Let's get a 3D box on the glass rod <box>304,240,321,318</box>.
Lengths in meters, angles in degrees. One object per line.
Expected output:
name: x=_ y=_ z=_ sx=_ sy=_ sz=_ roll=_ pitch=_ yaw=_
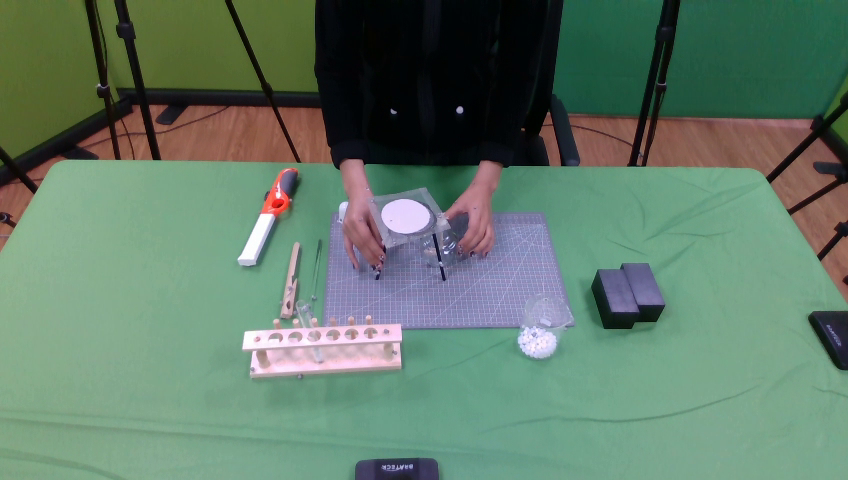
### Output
glass rod: x=-0.207 y=0.068 z=1.128 sx=0.008 sy=0.008 sz=0.198 roll=2 pitch=43 yaw=-2

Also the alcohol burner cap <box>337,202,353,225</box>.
alcohol burner cap: x=-0.161 y=-0.056 z=1.223 sx=0.034 sy=0.048 sz=0.033 roll=2 pitch=46 yaw=-2

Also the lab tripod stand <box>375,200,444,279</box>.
lab tripod stand: x=-0.023 y=0.003 z=1.113 sx=0.148 sy=0.132 sz=0.147 roll=4 pitch=45 yaw=-3

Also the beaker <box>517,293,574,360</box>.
beaker: x=0.200 y=0.149 z=1.018 sx=0.084 sy=0.101 sz=0.073 roll=14 pitch=47 yaw=8

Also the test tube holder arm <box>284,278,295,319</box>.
test tube holder arm: x=-0.241 y=0.103 z=1.085 sx=0.010 sy=0.015 sz=0.087 roll=25 pitch=38 yaw=-27

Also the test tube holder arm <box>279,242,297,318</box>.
test tube holder arm: x=-0.249 y=0.069 z=1.114 sx=0.013 sy=0.015 sz=0.177 roll=25 pitch=38 yaw=-27

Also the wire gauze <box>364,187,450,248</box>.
wire gauze: x=-0.031 y=-0.045 z=1.066 sx=0.121 sy=0.011 sz=0.124 roll=-13 pitch=49 yaw=-19

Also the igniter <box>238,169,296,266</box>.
igniter: x=-0.313 y=-0.055 z=1.224 sx=0.057 sy=0.025 sz=0.275 roll=1 pitch=45 yaw=10

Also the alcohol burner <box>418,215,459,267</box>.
alcohol burner: x=0.028 y=-0.005 z=1.140 sx=0.078 sy=0.119 sz=0.077 roll=3 pitch=48 yaw=-3

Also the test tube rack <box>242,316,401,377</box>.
test tube rack: x=-0.160 y=0.166 z=0.983 sx=0.242 sy=0.085 sz=0.066 roll=-2 pitch=46 yaw=-6

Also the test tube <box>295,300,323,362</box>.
test tube: x=-0.176 y=0.143 z=0.935 sx=0.017 sy=0.151 sz=0.017 roll=-2 pitch=46 yaw=2
